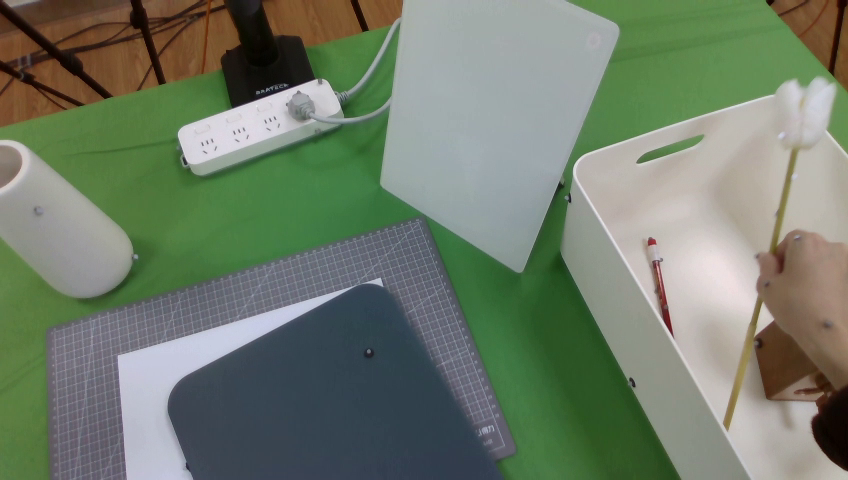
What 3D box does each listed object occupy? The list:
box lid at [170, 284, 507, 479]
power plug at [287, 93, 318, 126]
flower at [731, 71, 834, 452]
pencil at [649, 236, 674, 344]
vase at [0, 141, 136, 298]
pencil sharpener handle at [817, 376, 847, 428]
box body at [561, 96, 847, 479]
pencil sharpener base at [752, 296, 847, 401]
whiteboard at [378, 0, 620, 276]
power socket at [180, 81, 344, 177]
[{"bbox_3d":[-0.072,0.233,0.593,0.263,0.015,0.368,-28,64,-13],"label":"box lid"},{"bbox_3d":[-0.155,-0.158,0.781,0.035,0.053,0.072,-14,62,-5],"label":"power plug"},{"bbox_3d":[0.301,0.038,0.532,0.044,0.038,0.362,11,96,28],"label":"flower"},{"bbox_3d":[0.263,0.083,0.661,0.012,0.012,0.192,0,63,3],"label":"pencil"},{"bbox_3d":[-0.392,-0.016,0.641,0.098,0.202,0.097,-2,60,3],"label":"vase"},{"bbox_3d":[0.375,0.148,0.547,0.036,0.068,0.030,-4,59,12],"label":"pencil sharpener handle"},{"bbox_3d":[0.318,0.067,0.585,0.254,0.162,0.360,-18,61,-8],"label":"box body"},{"bbox_3d":[0.374,0.110,0.583,0.061,0.108,0.076,2,60,2],"label":"pencil sharpener base"},{"bbox_3d":[0.091,-0.151,0.672,0.216,0.308,0.143,33,48,20],"label":"whiteboard"},{"bbox_3d":[-0.213,-0.149,0.805,0.227,0.033,0.071,-22,63,-11],"label":"power socket"}]
